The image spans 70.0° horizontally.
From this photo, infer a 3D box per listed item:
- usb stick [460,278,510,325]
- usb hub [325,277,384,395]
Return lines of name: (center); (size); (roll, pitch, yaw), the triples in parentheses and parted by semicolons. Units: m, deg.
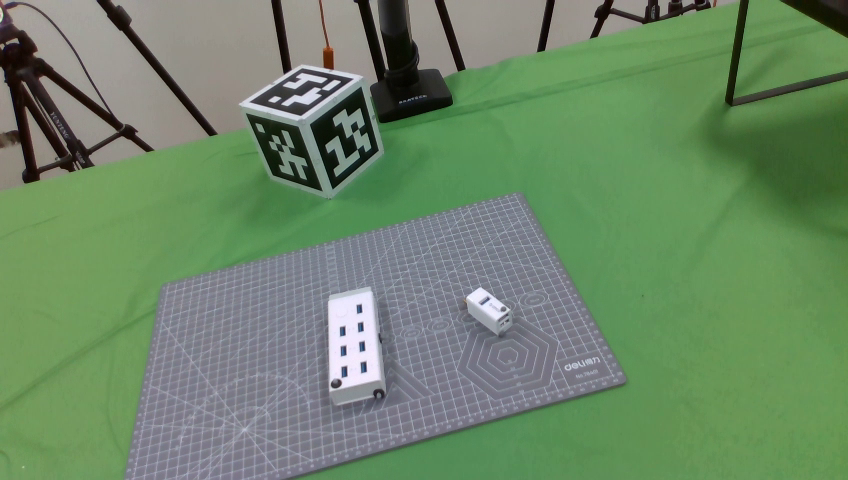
usb stick: (0.057, 0.057, 0.599); (0.021, 0.027, 0.058); (-35, 43, -21)
usb hub: (-0.071, 0.091, 0.596); (0.049, 0.025, 0.124); (-13, 41, 1)
